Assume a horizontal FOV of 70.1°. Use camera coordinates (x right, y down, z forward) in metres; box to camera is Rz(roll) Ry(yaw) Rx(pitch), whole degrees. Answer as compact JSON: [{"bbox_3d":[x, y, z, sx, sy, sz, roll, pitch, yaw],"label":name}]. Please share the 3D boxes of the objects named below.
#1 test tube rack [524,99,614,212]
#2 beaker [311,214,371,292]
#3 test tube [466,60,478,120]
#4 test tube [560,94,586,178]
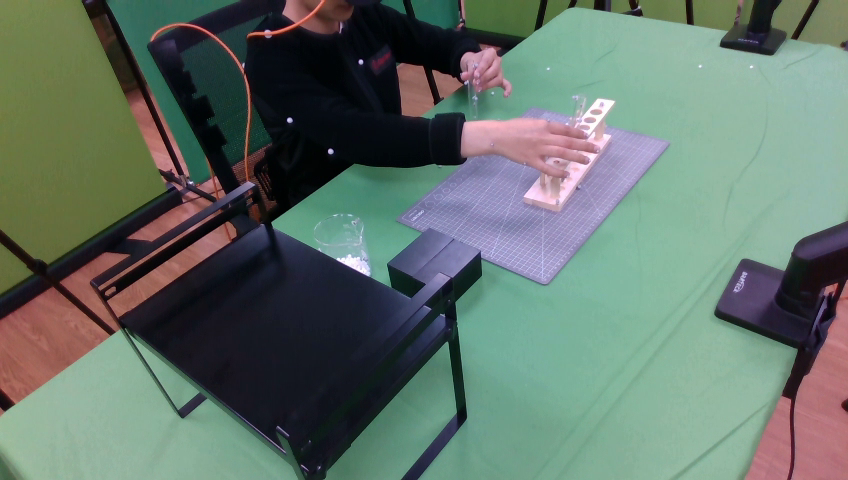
[{"bbox_3d":[0.259,-0.158,1.069,0.066,0.085,0.243,19,47,28],"label":"test tube rack"},{"bbox_3d":[-0.118,0.022,0.908,0.083,0.101,0.074,26,51,32],"label":"beaker"},{"bbox_3d":[0.091,-0.282,1.151,0.017,0.151,0.017,-3,58,6],"label":"test tube"},{"bbox_3d":[0.246,-0.169,1.002,0.017,0.150,0.017,2,36,-1],"label":"test tube"}]
